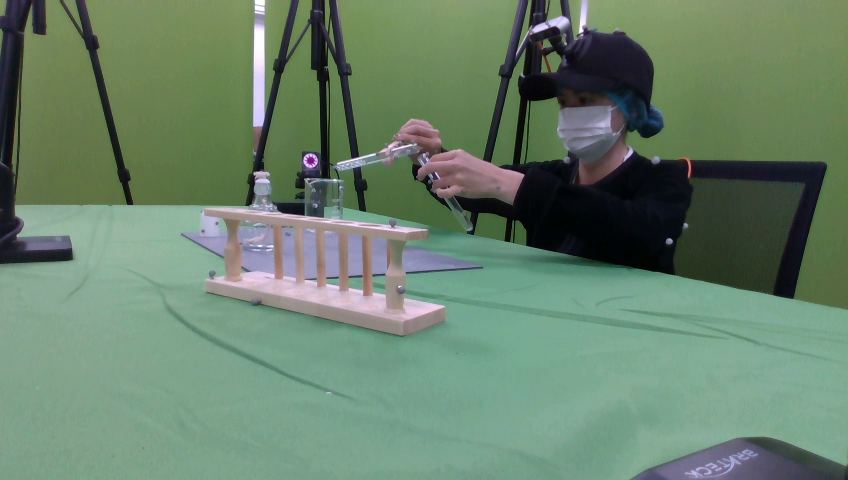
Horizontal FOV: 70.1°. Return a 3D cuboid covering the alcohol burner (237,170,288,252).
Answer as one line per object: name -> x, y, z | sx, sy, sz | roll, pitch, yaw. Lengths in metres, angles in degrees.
alcohol burner -> -0.236, -0.042, 0.882 | 0.078, 0.119, 0.078 | 2, 9, 0

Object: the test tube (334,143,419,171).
test tube -> -0.080, -0.137, 1.007 | 0.150, 0.017, 0.017 | -11, 4, 16

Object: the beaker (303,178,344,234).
beaker -> -0.189, -0.063, 1.119 | 0.073, 0.100, 0.084 | 6, 9, 28

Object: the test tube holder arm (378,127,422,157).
test tube holder arm -> -0.038, -0.174, 1.058 | 0.015, 0.013, 0.179 | -5, 23, 23

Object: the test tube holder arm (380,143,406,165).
test tube holder arm -> -0.052, -0.149, 1.022 | 0.015, 0.010, 0.088 | -5, 28, 23

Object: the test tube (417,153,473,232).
test tube -> 0.034, -0.077, 0.976 | 0.017, 0.150, 0.017 | -33, -6, -3

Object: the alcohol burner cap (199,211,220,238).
alcohol burner cap -> -0.356, -0.027, 1.002 | 0.034, 0.048, 0.034 | 3, 7, 0

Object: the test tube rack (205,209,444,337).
test tube rack -> -0.100, 0.021, 0.565 | 0.241, 0.085, 0.067 | 7, 8, 32
